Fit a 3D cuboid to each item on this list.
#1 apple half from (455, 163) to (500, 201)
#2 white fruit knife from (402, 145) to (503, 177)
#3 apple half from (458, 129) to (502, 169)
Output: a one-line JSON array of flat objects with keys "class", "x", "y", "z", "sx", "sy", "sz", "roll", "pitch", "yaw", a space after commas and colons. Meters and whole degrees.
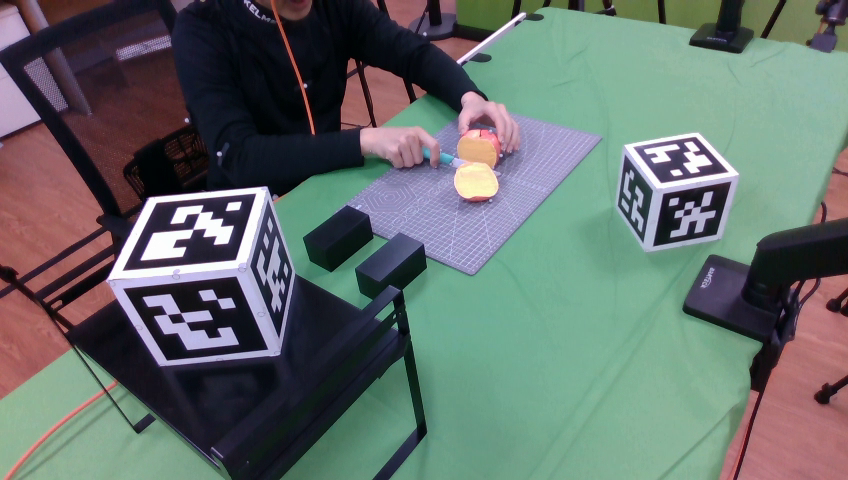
[{"class": "apple half", "x": 0.090, "y": -0.096, "z": 1.053, "sx": 0.081, "sy": 0.033, "sz": 0.081, "roll": 3, "pitch": 58, "yaw": -4}, {"class": "white fruit knife", "x": 0.051, "y": -0.147, "z": 1.125, "sx": 0.206, "sy": 0.027, "sz": 0.016, "roll": 17, "pitch": 50, "yaw": 21}, {"class": "apple half", "x": 0.107, "y": -0.167, "z": 1.108, "sx": 0.080, "sy": 0.075, "sz": 0.053, "roll": 9, "pitch": 38, "yaw": 24}]
